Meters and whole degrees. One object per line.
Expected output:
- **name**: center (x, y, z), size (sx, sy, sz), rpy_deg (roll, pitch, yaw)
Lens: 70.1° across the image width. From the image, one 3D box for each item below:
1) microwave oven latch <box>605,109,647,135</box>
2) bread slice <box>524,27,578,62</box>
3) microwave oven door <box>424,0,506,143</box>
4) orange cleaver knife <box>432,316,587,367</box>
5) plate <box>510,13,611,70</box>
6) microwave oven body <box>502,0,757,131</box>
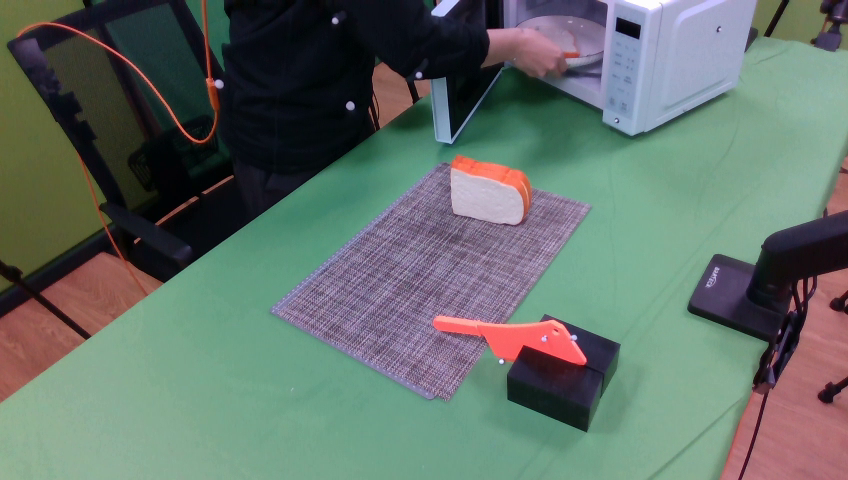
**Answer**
- **microwave oven latch**: center (0.378, -0.225, 1.139), size (0.030, 0.029, 0.078), rpy_deg (-26, 43, -19)
- **bread slice**: center (0.259, -0.408, 1.263), size (0.107, 0.018, 0.133), rpy_deg (2, 46, 2)
- **microwave oven door**: center (0.093, -0.392, 1.218), size (0.039, 0.245, 0.356), rpy_deg (11, 44, 21)
- **orange cleaver knife**: center (0.101, 0.127, 0.761), size (0.210, 0.077, 0.012), rpy_deg (-1, 34, 40)
- **plate**: center (0.283, -0.407, 1.256), size (0.208, 0.039, 0.206), rpy_deg (-2, 45, 2)
- **microwave oven body**: center (0.396, -0.448, 1.248), size (0.327, 0.261, 0.437), rpy_deg (-27, 44, -21)
